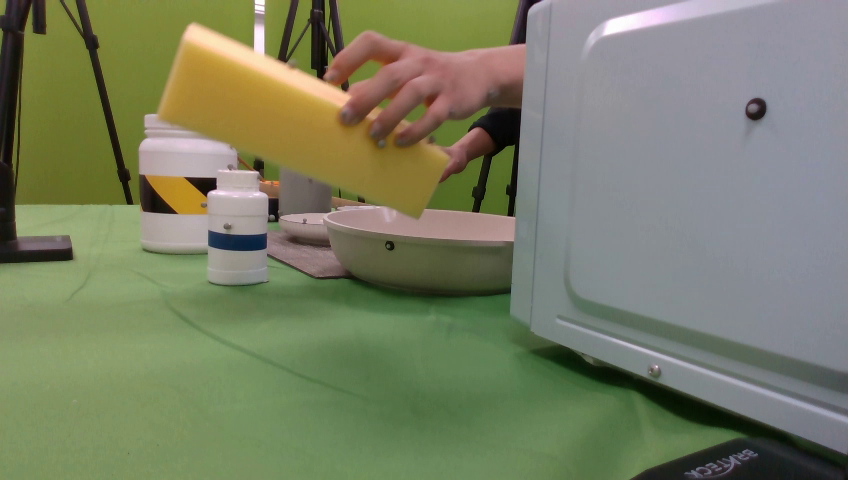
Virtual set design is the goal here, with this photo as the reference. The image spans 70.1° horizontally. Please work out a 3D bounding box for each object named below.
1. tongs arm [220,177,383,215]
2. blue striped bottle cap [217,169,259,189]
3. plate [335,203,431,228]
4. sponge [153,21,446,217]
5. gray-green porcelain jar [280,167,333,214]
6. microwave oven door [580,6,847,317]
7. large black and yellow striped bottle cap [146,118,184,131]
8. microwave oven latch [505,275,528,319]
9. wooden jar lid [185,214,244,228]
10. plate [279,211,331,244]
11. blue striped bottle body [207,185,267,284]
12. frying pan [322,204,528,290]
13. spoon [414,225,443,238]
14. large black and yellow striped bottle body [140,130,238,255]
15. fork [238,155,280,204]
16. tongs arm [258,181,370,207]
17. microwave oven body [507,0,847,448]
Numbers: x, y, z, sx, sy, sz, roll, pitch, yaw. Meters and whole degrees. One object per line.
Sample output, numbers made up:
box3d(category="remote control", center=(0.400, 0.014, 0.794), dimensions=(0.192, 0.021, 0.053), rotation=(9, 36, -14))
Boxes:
box3d(category="tongs arm", center=(-0.285, -0.103, 1.445), dimensions=(0.389, 0.027, 0.028), rotation=(9, -4, -23))
box3d(category="blue striped bottle cap", center=(-0.202, -0.067, 0.656), dimensions=(0.044, 0.020, 0.044), rotation=(0, 10, 0))
box3d(category="plate", center=(-0.089, -0.053, 1.309), dimensions=(0.208, 0.039, 0.207), rotation=(2, 8, 0))
box3d(category="sponge", center=(-0.098, -0.096, 0.487), dimensions=(0.208, 0.061, 0.117), rotation=(20, 16, -27))
box3d(category="gray-green porcelain jar", center=(-0.238, -0.092, 1.221), dimensions=(0.106, 0.126, 0.106), rotation=(2, 7, 0))
box3d(category="microwave oven door", center=(0.294, -0.067, 0.570), dimensions=(0.358, 0.243, 0.039), rotation=(-3, 9, -31))
box3d(category="large black and yellow striped bottle cap", center=(-0.332, -0.163, 0.860), dimensions=(0.115, 0.019, 0.115), rotation=(1, 9, 0))
box3d(category="microwave oven latch", center=(0.100, 0.042, 0.471), dimensions=(0.079, 0.029, 0.030), rotation=(-2, 8, -29))
box3d(category="wooden jar lid", center=(-0.404, -0.037, 1.169), dimensions=(0.108, 0.020, 0.108), rotation=(3, 7, 0))
box3d(category="plate", center=(-0.139, -0.022, 1.021), dimensions=(0.209, 0.038, 0.209), rotation=(2, 8, 0))
box3d(category="blue striped bottle body", center=(-0.204, -0.016, 0.663), dimensions=(0.063, 0.120, 0.063), rotation=(2, 7, 0))
box3d(category="frying pan", center=(0.109, -0.017, 0.800), dimensions=(0.490, 0.102, 0.305), rotation=(-12, 16, -30))
box3d(category="spoon", center=(0.017, -0.020, 1.113), dimensions=(0.041, 0.021, 0.194), rotation=(-14, 3, 12))
box3d(category="large black and yellow striped bottle body", center=(-0.336, -0.078, 0.871), dimensions=(0.131, 0.184, 0.130), rotation=(2, 8, 0))
box3d(category="fork", center=(-0.396, -0.143, 1.486), dimensions=(0.028, 0.018, 0.208), rotation=(19, -26, 44))
box3d(category="tongs arm", center=(-0.241, -0.095, 1.373), dimensions=(0.387, 0.026, 0.050), rotation=(9, -1, -37))
box3d(category="microwave oven body", center=(0.331, -0.042, 0.425), dimensions=(0.444, 0.260, 0.324), rotation=(-2, 8, -31))
